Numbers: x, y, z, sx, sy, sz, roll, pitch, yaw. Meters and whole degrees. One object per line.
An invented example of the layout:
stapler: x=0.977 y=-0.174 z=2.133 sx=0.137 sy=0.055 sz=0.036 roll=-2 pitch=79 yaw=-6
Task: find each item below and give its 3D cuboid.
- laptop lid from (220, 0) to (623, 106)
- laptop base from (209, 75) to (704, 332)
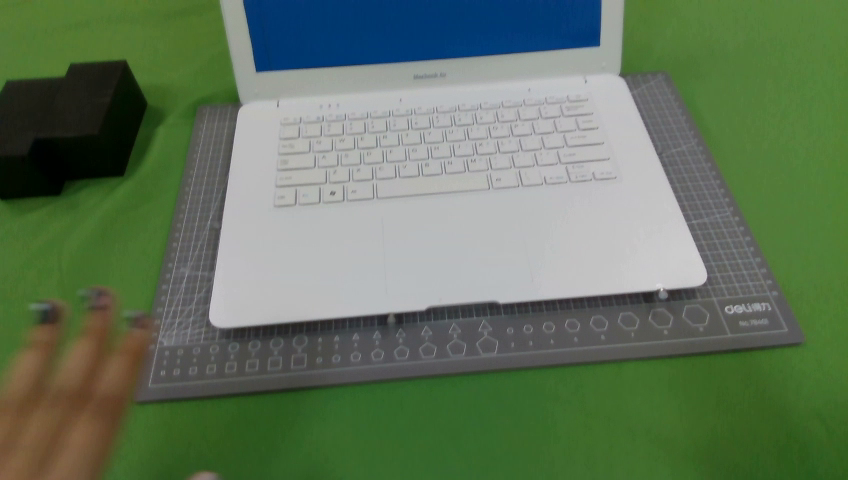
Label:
laptop lid: x=-0.001 y=-0.240 z=0.516 sx=0.357 sy=0.243 sz=0.013 roll=-6 pitch=24 yaw=-1
laptop base: x=0.016 y=-0.041 z=0.494 sx=0.354 sy=0.023 sz=0.233 roll=-5 pitch=56 yaw=-2
